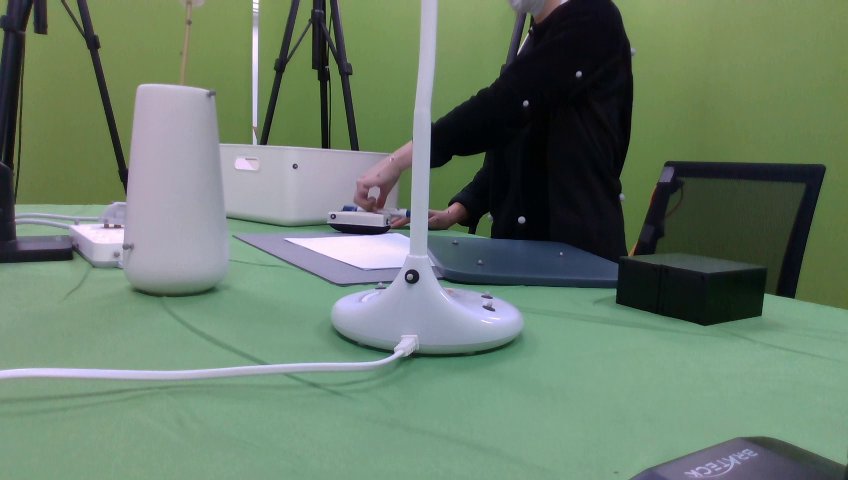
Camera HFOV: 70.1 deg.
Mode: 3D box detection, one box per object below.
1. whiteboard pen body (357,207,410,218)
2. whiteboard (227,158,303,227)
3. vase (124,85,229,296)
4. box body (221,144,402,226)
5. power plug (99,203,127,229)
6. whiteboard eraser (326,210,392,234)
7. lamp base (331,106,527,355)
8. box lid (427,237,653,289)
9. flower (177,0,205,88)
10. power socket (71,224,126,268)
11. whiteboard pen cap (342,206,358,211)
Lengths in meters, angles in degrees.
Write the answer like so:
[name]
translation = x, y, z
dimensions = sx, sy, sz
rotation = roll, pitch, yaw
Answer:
[whiteboard pen body]
translation = -0.090, -0.055, 1.192
dimensions = 0.140, 0.017, 0.017
rotation = 5, 8, 21
[whiteboard]
translation = -0.265, -0.117, 1.373
dimensions = 0.216, 0.143, 0.307
rotation = 5, 8, 36
[vase]
translation = -0.244, -0.047, 0.598
dimensions = 0.098, 0.200, 0.098
rotation = 3, 8, 0
[box body]
translation = -0.254, -0.128, 1.379
dimensions = 0.253, 0.160, 0.366
rotation = 8, 9, 36
[power plug]
translation = -0.415, -0.026, 0.848
dimensions = 0.073, 0.052, 0.035
rotation = 6, 5, -28
[whiteboard eraser]
translation = -0.121, -0.033, 1.131
dimensions = 0.112, 0.042, 0.056
rotation = 4, 8, 13
[lamp base]
translation = 0.006, -0.012, 0.478
dimensions = 0.161, 0.180, 0.179
rotation = 2, 10, 2
[box lid]
translation = 0.139, 0.028, 0.886
dimensions = 0.264, 0.015, 0.371
rotation = 2, 7, -6
[flower]
translation = -0.243, -0.131, 0.609
dimensions = 0.044, 0.361, 0.038
rotation = -5, -12, 12
[power socket]
translation = -0.409, 0.004, 0.793
dimensions = 0.072, 0.032, 0.225
rotation = -2, 8, -37
[whiteboard pen cap]
translation = -0.146, -0.059, 1.212
dimensions = 0.033, 0.018, 0.018
rotation = 5, 8, 20
